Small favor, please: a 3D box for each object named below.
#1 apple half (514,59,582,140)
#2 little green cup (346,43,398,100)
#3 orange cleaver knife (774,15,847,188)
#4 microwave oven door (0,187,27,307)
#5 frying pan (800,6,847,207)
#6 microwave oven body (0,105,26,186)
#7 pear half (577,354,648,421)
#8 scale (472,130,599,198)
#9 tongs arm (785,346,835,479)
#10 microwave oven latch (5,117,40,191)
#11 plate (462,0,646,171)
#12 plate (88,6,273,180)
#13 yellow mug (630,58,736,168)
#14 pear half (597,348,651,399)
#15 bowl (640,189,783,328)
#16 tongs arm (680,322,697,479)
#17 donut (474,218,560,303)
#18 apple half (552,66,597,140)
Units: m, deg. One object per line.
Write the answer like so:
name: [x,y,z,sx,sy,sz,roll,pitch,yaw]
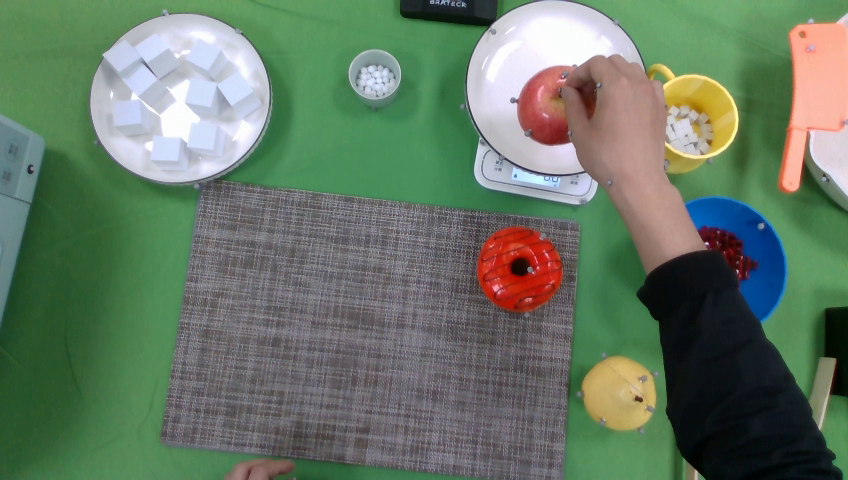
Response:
apple half: [0.120,-0.148,0.621,0.053,0.074,0.081,20,90,-4]
little green cup: [-0.060,-0.198,0.722,0.061,0.039,0.061,0,82,-1]
orange cleaver knife: [0.436,-0.157,0.680,0.077,0.012,0.210,11,83,3]
microwave oven door: [-0.490,0.103,0.549,0.039,0.244,0.354,9,82,0]
frying pan: [0.609,-0.055,0.690,0.307,0.103,0.485,-20,76,-3]
microwave oven body: [-0.628,0.039,0.558,0.326,0.260,0.440,9,83,-1]
pear half: [0.201,0.165,0.647,0.076,0.110,0.056,38,83,8]
scale: [0.144,-0.158,0.726,0.149,0.031,0.200,11,83,0]
tongs arm: [0.394,0.301,0.676,0.028,0.028,0.386,21,84,-5]
microwave oven latch: [-0.456,-0.097,0.678,0.030,0.029,0.079,11,83,-1]
plate: [0.147,-0.178,0.696,0.209,0.038,0.208,0,83,-2]
plate: [-0.280,-0.169,0.712,0.208,0.039,0.207,0,82,-2]
yellow mug: [0.294,-0.156,0.713,0.100,0.064,0.130,-26,83,-4]
pear half: [0.224,0.140,0.661,0.070,0.088,0.031,37,84,7]
bowl: [0.309,0.024,0.685,0.151,0.077,0.151,0,83,-1]
tongs arm: [0.309,0.284,0.674,0.051,0.026,0.383,6,84,-4]
donut: [0.105,0.023,0.692,0.099,0.048,0.098,0,83,1]
apple half: [0.157,-0.135,0.625,0.033,0.081,0.081,19,82,-4]
